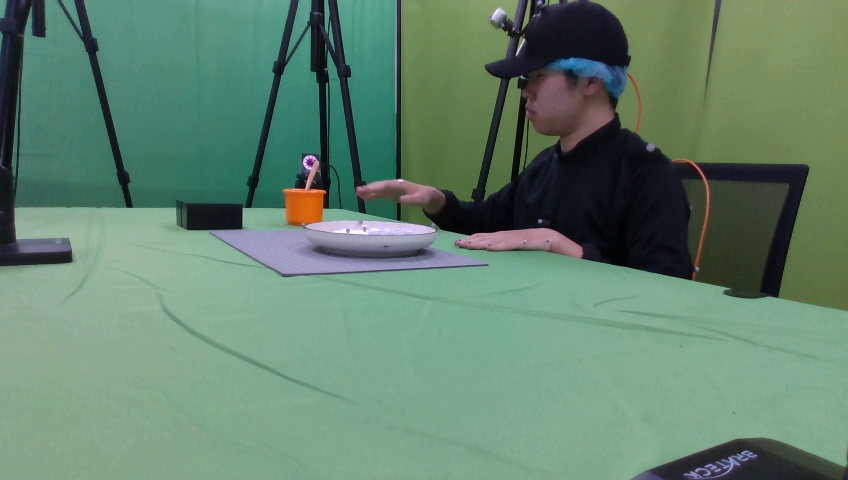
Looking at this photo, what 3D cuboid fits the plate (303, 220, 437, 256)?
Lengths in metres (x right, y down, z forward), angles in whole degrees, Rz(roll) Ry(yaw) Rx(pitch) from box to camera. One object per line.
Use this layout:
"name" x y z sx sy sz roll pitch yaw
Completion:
"plate" -0.084 -0.003 0.951 0.209 0.038 0.209 3 7 0

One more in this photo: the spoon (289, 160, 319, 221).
"spoon" -0.259 -0.112 1.339 0.041 0.193 0.022 1 -37 11

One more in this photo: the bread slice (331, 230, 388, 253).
"bread slice" -0.088 0.000 0.947 0.105 0.019 0.131 -4 11 -44
